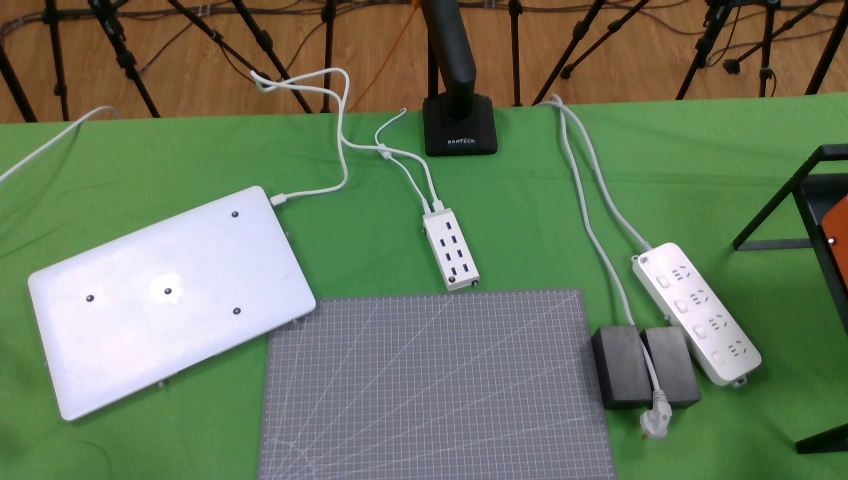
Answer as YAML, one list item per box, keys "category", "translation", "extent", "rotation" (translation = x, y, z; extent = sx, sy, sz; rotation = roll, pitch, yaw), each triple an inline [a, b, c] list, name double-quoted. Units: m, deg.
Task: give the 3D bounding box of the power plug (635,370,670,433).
- category: "power plug"
  translation: [0.291, 0.211, 0.772]
  extent: [0.035, 0.053, 0.072]
  rotation: [28, 45, -5]

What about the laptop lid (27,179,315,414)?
- category: "laptop lid"
  translation: [-0.359, 0.065, 0.858]
  extent: [0.357, 0.013, 0.239]
  rotation: [-23, 67, -12]

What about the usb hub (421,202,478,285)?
- category: "usb hub"
  translation: [0.037, 0.004, 0.905]
  extent: [0.049, 0.025, 0.124]
  rotation: [-16, 64, -8]

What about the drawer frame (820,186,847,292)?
- category: "drawer frame"
  translation: [0.585, 0.032, 0.662]
  extent: [0.214, 0.083, 0.200]
  rotation: [-3, 62, -3]

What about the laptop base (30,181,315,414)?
- category: "laptop base"
  translation: [-0.360, 0.069, 0.870]
  extent: [0.354, 0.023, 0.233]
  rotation: [-24, 68, -13]

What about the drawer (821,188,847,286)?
- category: "drawer"
  translation: [0.582, 0.034, 0.662]
  extent: [0.212, 0.074, 0.192]
  rotation: [-2, 62, -2]

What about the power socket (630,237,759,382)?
- category: "power socket"
  translation: [0.380, 0.093, 0.858]
  extent: [0.072, 0.033, 0.224]
  rotation: [-22, 64, -13]
